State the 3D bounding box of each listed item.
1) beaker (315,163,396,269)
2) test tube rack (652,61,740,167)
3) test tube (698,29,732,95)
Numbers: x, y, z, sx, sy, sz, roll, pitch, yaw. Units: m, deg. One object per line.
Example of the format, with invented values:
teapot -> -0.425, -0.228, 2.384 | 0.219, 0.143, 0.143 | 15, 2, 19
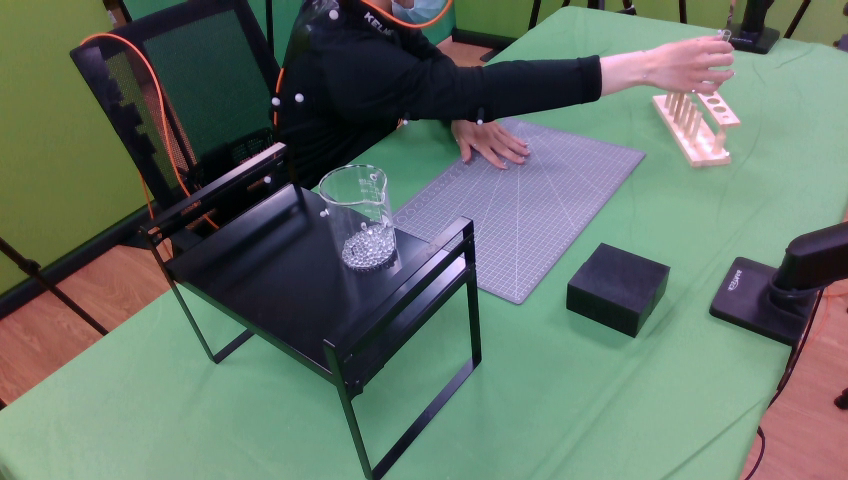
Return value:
beaker -> -0.069, -0.024, 0.671 | 0.083, 0.101, 0.074 | 27, 52, 32
test tube rack -> 0.500, -0.241, 1.130 | 0.067, 0.085, 0.241 | -5, 41, 3
test tube -> 0.510, -0.309, 1.068 | 0.017, 0.151, 0.017 | -2, 59, 4
